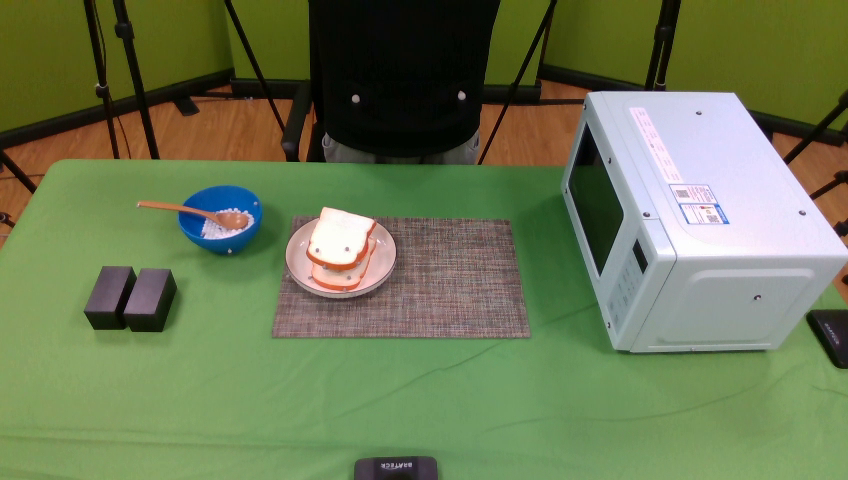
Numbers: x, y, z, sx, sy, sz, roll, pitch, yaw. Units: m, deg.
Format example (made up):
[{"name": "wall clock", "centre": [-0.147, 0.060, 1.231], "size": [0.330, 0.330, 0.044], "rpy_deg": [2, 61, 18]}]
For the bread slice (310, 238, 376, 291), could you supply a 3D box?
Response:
[{"name": "bread slice", "centre": [-0.154, 0.039, 1.135], "size": [0.107, 0.018, 0.133], "rpy_deg": [7, 46, 3]}]

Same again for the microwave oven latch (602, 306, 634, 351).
[{"name": "microwave oven latch", "centre": [0.332, 0.153, 1.044], "size": [0.030, 0.029, 0.078], "rpy_deg": [-1, 45, -4]}]

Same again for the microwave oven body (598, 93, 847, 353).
[{"name": "microwave oven body", "centre": [0.476, -0.041, 1.110], "size": [0.326, 0.261, 0.438], "rpy_deg": [-1, 45, -4]}]

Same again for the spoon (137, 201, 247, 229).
[{"name": "spoon", "centre": [-0.431, -0.052, 1.135], "size": [0.194, 0.022, 0.041], "rpy_deg": [14, 46, -22]}]

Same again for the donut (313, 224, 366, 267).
[{"name": "donut", "centre": [-0.155, 0.011, 1.120], "size": [0.099, 0.048, 0.098], "rpy_deg": [1, 42, -1]}]

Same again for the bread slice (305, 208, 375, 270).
[{"name": "bread slice", "centre": [-0.154, -0.001, 1.095], "size": [0.105, 0.019, 0.131], "rpy_deg": [15, 48, 1]}]

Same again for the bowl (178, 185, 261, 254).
[{"name": "bowl", "centre": [-0.383, -0.027, 1.158], "size": [0.151, 0.077, 0.150], "rpy_deg": [2, 46, -2]}]

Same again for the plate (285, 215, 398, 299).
[{"name": "plate", "centre": [-0.154, 0.034, 1.140], "size": [0.208, 0.039, 0.206], "rpy_deg": [3, 46, -2]}]

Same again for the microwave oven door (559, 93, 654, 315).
[{"name": "microwave oven door", "centre": [0.327, -0.074, 1.123], "size": [0.039, 0.245, 0.353], "rpy_deg": [-1, 46, -5]}]
